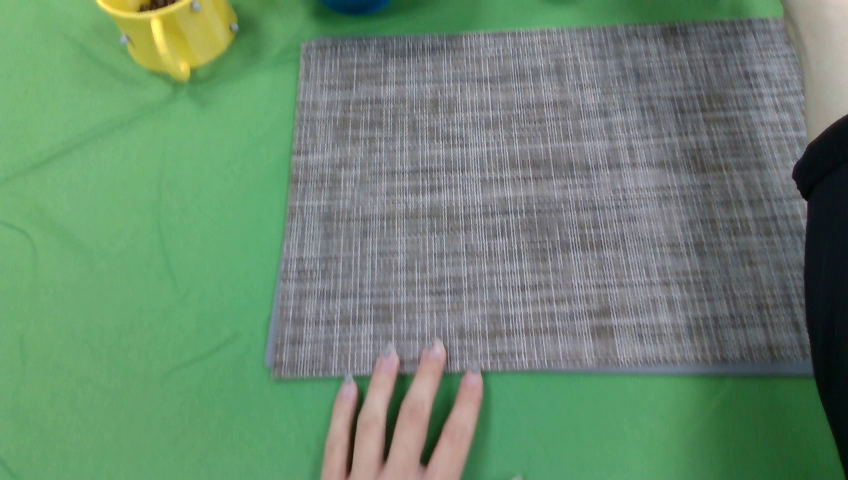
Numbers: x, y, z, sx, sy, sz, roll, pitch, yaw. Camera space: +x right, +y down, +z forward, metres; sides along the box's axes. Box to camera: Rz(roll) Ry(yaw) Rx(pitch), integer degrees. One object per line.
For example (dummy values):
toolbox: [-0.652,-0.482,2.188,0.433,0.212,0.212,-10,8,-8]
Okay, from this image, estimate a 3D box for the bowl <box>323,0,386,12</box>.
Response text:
bowl: [-0.065,-0.257,0.530,0.151,0.077,0.150,-1,64,2]

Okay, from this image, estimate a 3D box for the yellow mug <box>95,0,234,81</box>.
yellow mug: [-0.218,-0.193,0.513,0.100,0.064,0.129,-14,65,-4]
